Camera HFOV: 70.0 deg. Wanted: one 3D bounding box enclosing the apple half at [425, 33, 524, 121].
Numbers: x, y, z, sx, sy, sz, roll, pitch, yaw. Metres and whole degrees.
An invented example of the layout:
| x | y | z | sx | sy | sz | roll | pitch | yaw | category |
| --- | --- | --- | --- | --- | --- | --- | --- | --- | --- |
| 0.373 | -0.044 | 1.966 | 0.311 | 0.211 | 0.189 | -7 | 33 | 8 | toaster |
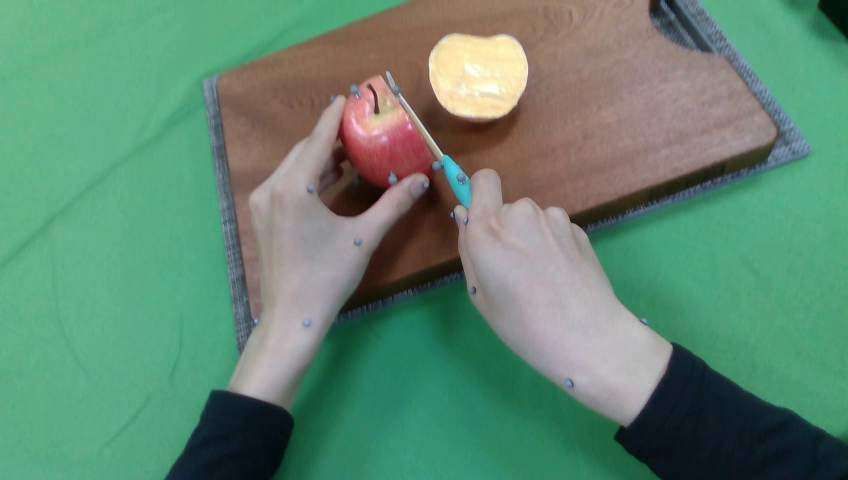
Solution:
| x | y | z | sx | sy | sz | roll | pitch | yaw | category |
| --- | --- | --- | --- | --- | --- | --- | --- | --- | --- |
| 0.038 | -0.123 | 0.478 | 0.081 | 0.033 | 0.081 | -1 | 73 | 2 | apple half |

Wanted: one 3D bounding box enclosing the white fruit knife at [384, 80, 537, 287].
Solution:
| x | y | z | sx | sy | sz | roll | pitch | yaw | category |
| --- | --- | --- | --- | --- | --- | --- | --- | --- | --- |
| 0.017 | -0.051 | 0.429 | 0.016 | 0.028 | 0.205 | -31 | 60 | -5 | white fruit knife |

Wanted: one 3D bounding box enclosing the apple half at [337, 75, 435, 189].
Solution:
| x | y | z | sx | sy | sz | roll | pitch | yaw | category |
| --- | --- | --- | --- | --- | --- | --- | --- | --- | --- |
| -0.033 | -0.071 | 0.445 | 0.053 | 0.075 | 0.080 | -34 | 64 | 0 | apple half |
